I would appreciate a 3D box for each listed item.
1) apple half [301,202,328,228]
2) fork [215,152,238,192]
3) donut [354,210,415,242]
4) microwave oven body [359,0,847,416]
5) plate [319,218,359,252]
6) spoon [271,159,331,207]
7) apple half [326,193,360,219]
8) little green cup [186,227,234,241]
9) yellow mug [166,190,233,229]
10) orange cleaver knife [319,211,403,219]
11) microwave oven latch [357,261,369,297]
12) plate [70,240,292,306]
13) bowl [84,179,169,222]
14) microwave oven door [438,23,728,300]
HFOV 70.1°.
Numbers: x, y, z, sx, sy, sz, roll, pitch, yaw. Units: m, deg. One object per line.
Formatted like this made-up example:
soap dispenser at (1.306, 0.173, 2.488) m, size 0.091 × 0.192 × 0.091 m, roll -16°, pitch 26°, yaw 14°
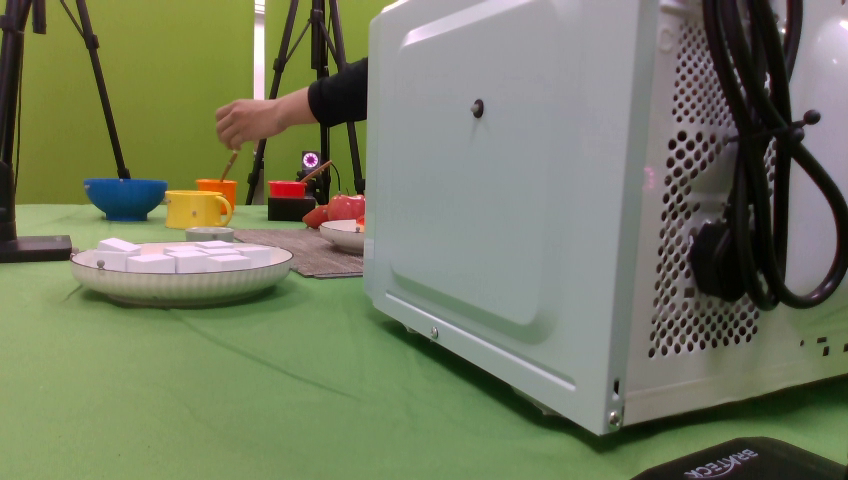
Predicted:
apple half at (-0.195, -0.043, 1.173) m, size 0.081 × 0.032 × 0.081 m, roll -22°, pitch -15°, yaw -6°
fork at (-0.455, -0.132, 1.367) m, size 0.028 × 0.018 × 0.207 m, roll -2°, pitch -35°, yaw -37°
donut at (-0.062, -0.020, 0.955) m, size 0.099 × 0.048 × 0.099 m, roll 5°, pitch 7°, yaw 0°
microwave oven body at (0.211, -0.047, 0.474) m, size 0.444 × 0.260 × 0.324 m, roll -1°, pitch 7°, yaw -28°
plate at (-0.059, -0.007, 0.939) m, size 0.209 × 0.038 × 0.209 m, roll 3°, pitch 8°, yaw 0°
spoon at (-0.307, -0.141, 1.513) m, size 0.193 × 0.021 × 0.041 m, roll -42°, pitch 1°, yaw 8°
apple half at (-0.135, -0.047, 1.089) m, size 0.081 × 0.074 × 0.053 m, roll 5°, pitch 10°, yaw -12°
little green cup at (-0.285, 0.005, 0.805) m, size 0.061 × 0.038 × 0.061 m, roll 2°, pitch 8°, yaw 0°
yellow mug at (-0.415, -0.057, 1.132) m, size 0.130 × 0.064 × 0.100 m, roll 6°, pitch 8°, yaw 16°
orange cleaver knife at (-0.142, -0.056, 1.394) m, size 0.077 × 0.012 × 0.212 m, roll 4°, pitch 7°, yaw 44°
microwave oven latch at (-0.019, 0.033, 0.530) m, size 0.079 × 0.029 × 0.030 m, roll -1°, pitch 7°, yaw -27°
plate at (-0.242, 0.032, 0.618) m, size 0.208 × 0.039 × 0.207 m, roll 3°, pitch 8°, yaw 0°
bowl at (-0.584, -0.079, 1.194) m, size 0.151 × 0.077 × 0.151 m, roll 3°, pitch 8°, yaw 0°
microwave oven door at (0.181, -0.073, 0.620) m, size 0.358 × 0.243 × 0.039 m, roll -2°, pitch 8°, yaw -29°
